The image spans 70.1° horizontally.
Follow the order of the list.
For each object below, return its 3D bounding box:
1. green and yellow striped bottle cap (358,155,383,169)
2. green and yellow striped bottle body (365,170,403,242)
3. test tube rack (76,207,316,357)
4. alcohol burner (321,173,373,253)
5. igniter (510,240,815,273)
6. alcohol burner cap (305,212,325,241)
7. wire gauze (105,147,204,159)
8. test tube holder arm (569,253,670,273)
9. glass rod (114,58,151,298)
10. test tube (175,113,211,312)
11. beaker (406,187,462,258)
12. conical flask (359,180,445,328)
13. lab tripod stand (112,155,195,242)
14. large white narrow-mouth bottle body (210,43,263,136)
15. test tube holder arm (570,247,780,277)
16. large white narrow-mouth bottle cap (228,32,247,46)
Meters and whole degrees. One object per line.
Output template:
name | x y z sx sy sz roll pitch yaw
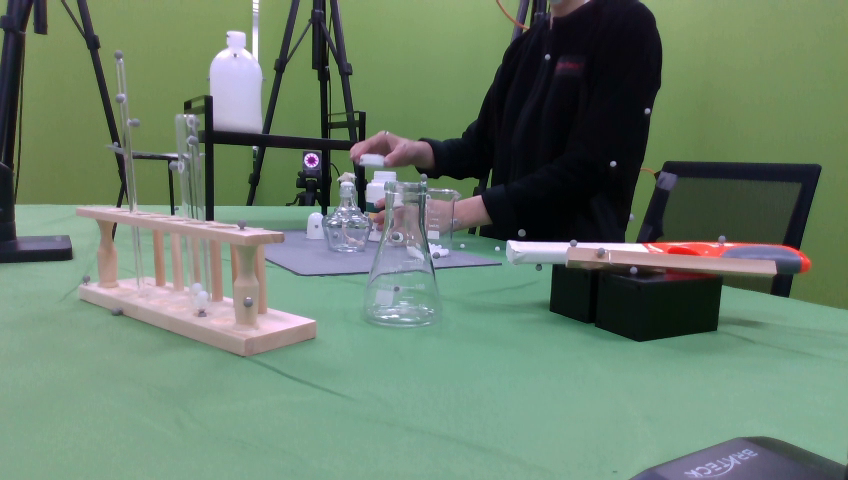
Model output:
green and yellow striped bottle cap | -0.094 -0.138 1.069 0.045 0.020 0.045 5 -1 0
green and yellow striped bottle body | -0.068 -0.059 1.036 0.063 0.119 0.063 3 7 0
test tube rack | -0.196 0.023 0.499 0.241 0.085 0.067 8 9 36
alcohol burner | -0.115 -0.041 0.905 0.078 0.119 0.078 1 6 0
igniter | 0.220 0.015 0.565 0.277 0.025 0.057 2 16 -1
alcohol burner cap | -0.185 -0.023 1.027 0.034 0.048 0.034 2 7 0
wire gauze | -0.407 -0.131 0.928 0.125 0.011 0.121 2 6 -11
test tube holder arm | 0.172 0.019 0.532 0.088 0.015 0.010 3 -23 3
glass rod | -0.236 -0.044 0.492 0.008 0.199 0.008 0 15 0
test tube | -0.175 -0.020 0.458 0.017 0.150 0.017 -3 5 1
beaker | 0.013 -0.026 0.893 0.084 0.100 0.074 3 8 -2
conical flask | -0.017 0.010 0.522 0.075 0.122 0.075 2 7 0
lab tripod stand | -0.405 -0.064 0.931 0.148 0.131 0.148 1 6 0
large white narrow-mouth bottle body | -0.369 -0.305 1.194 0.102 0.194 0.102 3 8 0
test tube holder arm | 0.217 0.019 0.525 0.178 0.015 0.013 3 -23 3
large white narrow-mouth bottle cap | -0.364 -0.391 1.180 0.038 0.024 0.037 3 8 0
